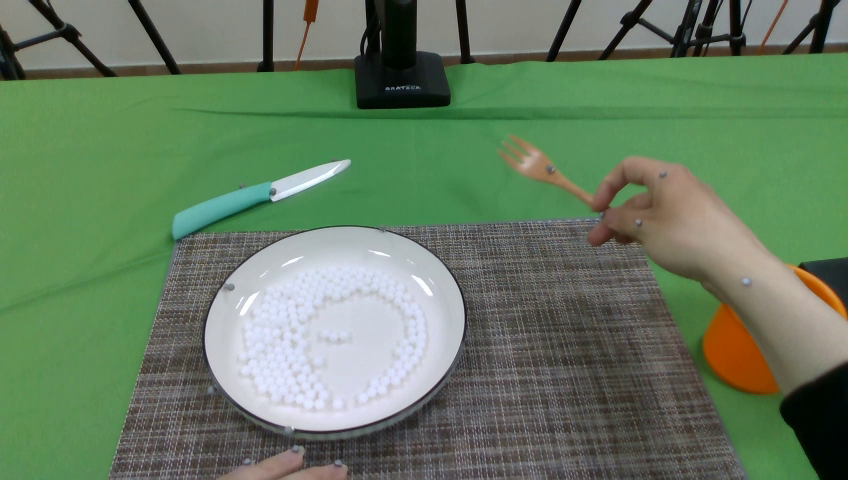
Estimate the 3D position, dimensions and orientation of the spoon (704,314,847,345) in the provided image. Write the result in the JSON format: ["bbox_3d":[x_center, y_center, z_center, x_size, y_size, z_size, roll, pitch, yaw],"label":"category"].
[{"bbox_3d":[0.298,0.064,0.445,0.041,0.193,0.021,-27,95,-32],"label":"spoon"}]

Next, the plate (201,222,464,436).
[{"bbox_3d":[-0.071,0.068,0.497,0.209,0.038,0.207,1,45,-1],"label":"plate"}]

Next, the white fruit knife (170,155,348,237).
[{"bbox_3d":[-0.167,-0.053,0.636,0.208,0.016,0.027,-26,75,-30],"label":"white fruit knife"}]

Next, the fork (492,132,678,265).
[{"bbox_3d":[0.130,-0.039,0.518,0.028,0.019,0.205,-48,50,1],"label":"fork"}]
